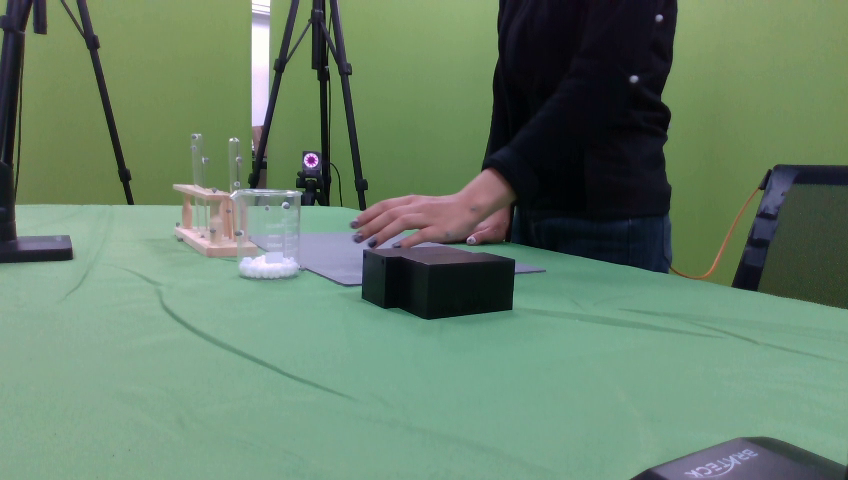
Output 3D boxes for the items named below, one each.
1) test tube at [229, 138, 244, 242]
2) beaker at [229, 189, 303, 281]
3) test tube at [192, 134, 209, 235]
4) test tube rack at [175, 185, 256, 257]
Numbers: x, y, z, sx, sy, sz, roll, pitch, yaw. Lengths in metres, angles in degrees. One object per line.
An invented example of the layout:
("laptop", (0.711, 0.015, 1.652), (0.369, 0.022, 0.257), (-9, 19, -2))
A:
("test tube", (-0.269, -0.071, 0.867), (0.017, 0.150, 0.017), (0, 9, 0))
("beaker", (-0.181, -0.007, 0.695), (0.084, 0.100, 0.073), (-4, 9, -36))
("test tube", (-0.332, -0.082, 0.898), (0.017, 0.150, 0.017), (-2, 6, 0))
("test tube rack", (-0.324, -0.035, 0.922), (0.067, 0.085, 0.241), (-2, 9, -31))
